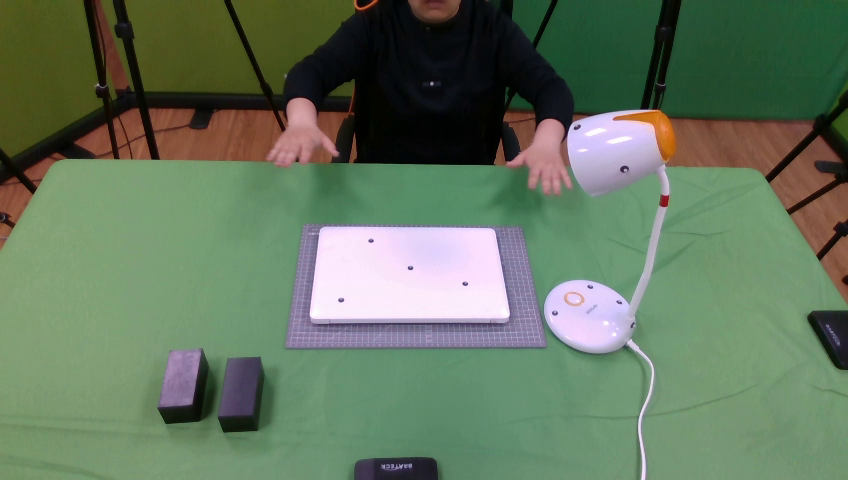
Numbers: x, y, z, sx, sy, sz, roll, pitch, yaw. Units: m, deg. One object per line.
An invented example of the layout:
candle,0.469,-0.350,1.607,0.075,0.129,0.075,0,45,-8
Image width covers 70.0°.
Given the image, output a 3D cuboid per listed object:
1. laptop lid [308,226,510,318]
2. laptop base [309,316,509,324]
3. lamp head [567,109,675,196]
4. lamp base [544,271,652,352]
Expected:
laptop lid,-0.028,0.054,1.129,0.357,0.013,0.240,2,44,-3
laptop base,-0.029,0.064,1.136,0.355,0.023,0.234,0,43,-4
lamp head,0.272,-0.123,0.818,0.122,0.113,0.112,-9,35,37
lamp base,0.310,0.086,1.029,0.178,0.181,0.160,32,52,21
